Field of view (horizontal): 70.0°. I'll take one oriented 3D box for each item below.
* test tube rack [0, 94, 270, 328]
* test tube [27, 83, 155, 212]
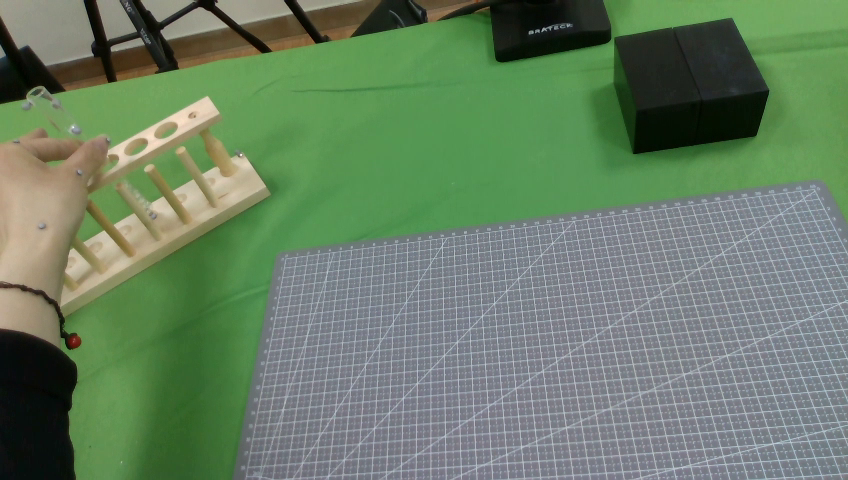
[{"bbox_3d":[-0.275,-0.028,0.555,0.242,0.086,0.066,-33,52,-11],"label":"test tube rack"},{"bbox_3d":[-0.282,-0.074,0.525,0.017,0.152,0.017,-9,52,12],"label":"test tube"}]
